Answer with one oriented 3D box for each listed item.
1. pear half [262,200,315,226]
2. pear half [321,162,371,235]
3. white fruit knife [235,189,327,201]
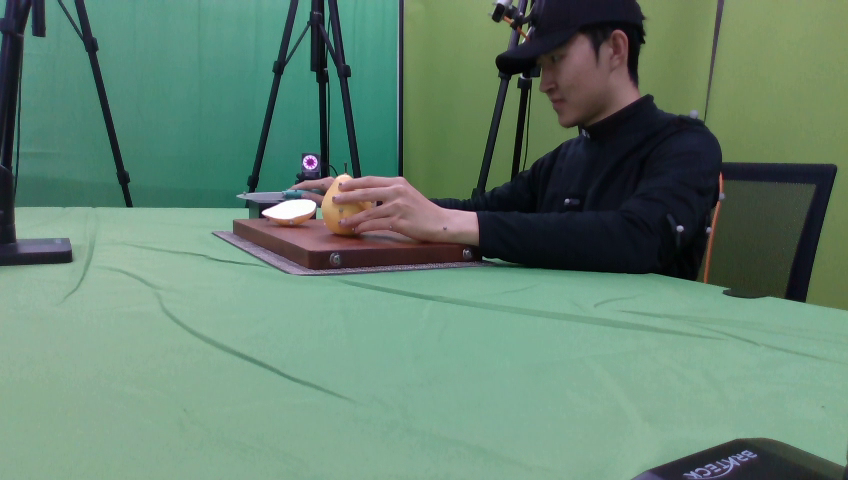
[{"bbox_3d":[-0.223,-0.041,1.008,0.088,0.031,0.070,-10,22,2],"label":"pear half"},{"bbox_3d":[-0.110,-0.061,0.897,0.055,0.110,0.077,9,17,41],"label":"pear half"},{"bbox_3d":[-0.298,-0.096,1.298,0.208,0.027,0.016,-5,46,-29],"label":"white fruit knife"}]
